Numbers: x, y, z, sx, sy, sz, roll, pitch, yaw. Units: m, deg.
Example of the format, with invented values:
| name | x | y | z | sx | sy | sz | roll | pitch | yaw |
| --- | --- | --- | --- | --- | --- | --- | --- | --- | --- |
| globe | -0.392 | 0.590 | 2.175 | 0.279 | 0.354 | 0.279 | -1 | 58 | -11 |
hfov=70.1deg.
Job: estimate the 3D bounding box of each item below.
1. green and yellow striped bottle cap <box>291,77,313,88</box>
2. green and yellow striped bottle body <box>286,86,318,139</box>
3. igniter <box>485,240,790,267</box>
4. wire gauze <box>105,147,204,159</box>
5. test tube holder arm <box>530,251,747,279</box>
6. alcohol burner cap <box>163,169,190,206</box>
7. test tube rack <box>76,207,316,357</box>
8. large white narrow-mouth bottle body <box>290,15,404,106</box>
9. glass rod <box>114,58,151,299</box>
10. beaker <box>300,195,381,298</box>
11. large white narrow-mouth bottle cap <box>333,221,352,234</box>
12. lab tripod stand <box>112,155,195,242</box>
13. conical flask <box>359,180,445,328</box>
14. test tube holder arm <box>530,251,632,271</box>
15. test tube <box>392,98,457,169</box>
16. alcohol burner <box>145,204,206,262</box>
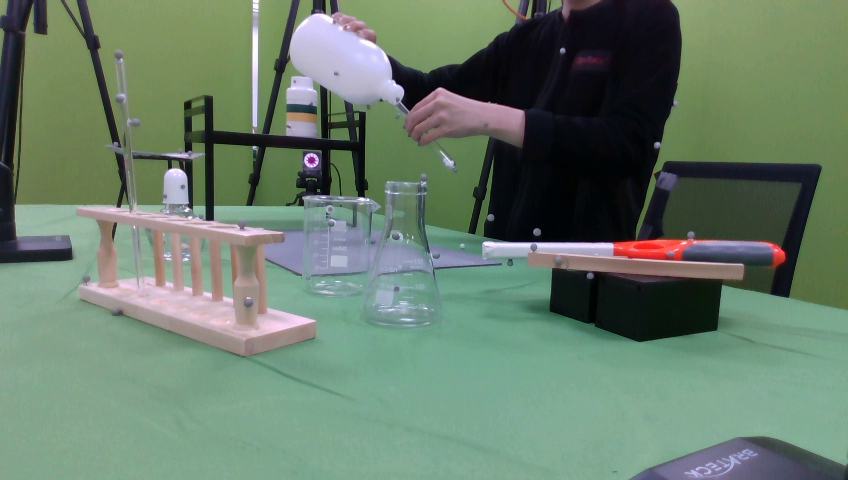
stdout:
| name | x | y | z | sx | sy | sz | roll | pitch | yaw |
| --- | --- | --- | --- | --- | --- | --- | --- | --- | --- |
| green and yellow striped bottle cap | -0.250 | -0.321 | 1.238 | 0.045 | 0.020 | 0.045 | 3 | 6 | 0 |
| green and yellow striped bottle body | -0.251 | -0.270 | 1.245 | 0.063 | 0.119 | 0.063 | 2 | 7 | 0 |
| igniter | 0.197 | 0.012 | 0.585 | 0.276 | 0.025 | 0.057 | 1 | 5 | 12 |
| wire gauze | -0.407 | -0.131 | 0.929 | 0.125 | 0.011 | 0.121 | 2 | 6 | -11 |
| test tube holder arm | 0.182 | 0.022 | 0.523 | 0.178 | 0.015 | 0.013 | 3 | 7 | 12 |
| alcohol burner cap | -0.321 | -0.068 | 0.782 | 0.034 | 0.048 | 0.034 | 1 | 7 | 0 |
| test tube rack | -0.196 | 0.023 | 0.500 | 0.241 | 0.085 | 0.067 | 8 | 9 | 36 |
| large white narrow-mouth bottle body | -0.116 | -0.278 | 0.979 | 0.194 | 0.101 | 0.102 | 34 | 17 | 14 |
| glass rod | -0.236 | -0.044 | 0.492 | 0.008 | 0.199 | 0.008 | 0 | 15 | 0 |
| beaker | -0.087 | 0.006 | 0.626 | 0.084 | 0.100 | 0.074 | 1 | 8 | -17 |
| large white narrow-mouth bottle cap | -0.152 | -0.024 | 1.134 | 0.038 | 0.024 | 0.037 | 4 | 7 | 0 |
| lab tripod stand | -0.405 | -0.064 | 0.931 | 0.148 | 0.131 | 0.148 | 1 | 6 | 0 |
| conical flask | -0.017 | 0.010 | 0.522 | 0.075 | 0.122 | 0.075 | 2 | 7 | 0 |
| test tube holder arm | 0.139 | 0.019 | 0.538 | 0.087 | 0.015 | 0.010 | 3 | 7 | 13 |
| test tube | 0.001 | -0.164 | 0.933 | 0.150 | 0.017 | 0.017 | 49 | 26 | 16 |
| alcohol burner | -0.322 | -0.032 | 0.788 | 0.078 | 0.119 | 0.078 | 0 | 7 | 0 |
